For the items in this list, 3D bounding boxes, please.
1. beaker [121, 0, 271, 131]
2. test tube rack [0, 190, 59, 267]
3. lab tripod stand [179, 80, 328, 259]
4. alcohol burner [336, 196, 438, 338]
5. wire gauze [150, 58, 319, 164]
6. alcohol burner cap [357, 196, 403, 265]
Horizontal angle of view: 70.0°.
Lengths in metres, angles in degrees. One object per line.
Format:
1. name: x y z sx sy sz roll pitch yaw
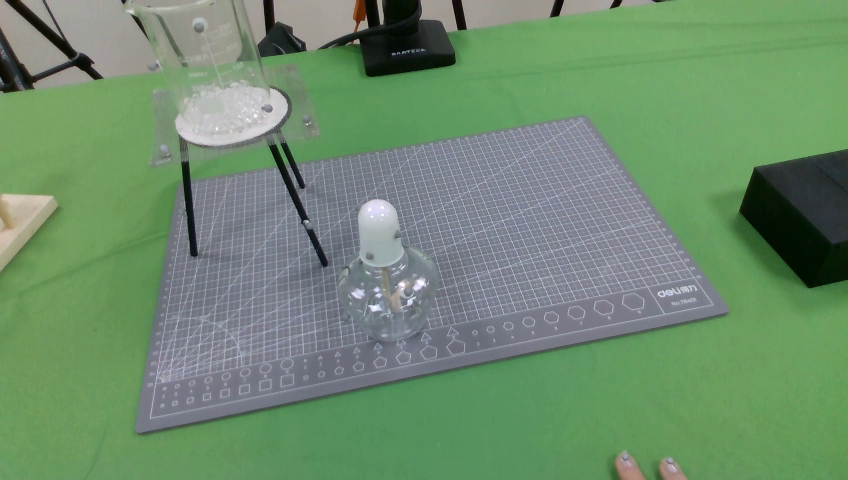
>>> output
1. beaker: -0.160 -0.138 0.444 0.084 0.101 0.073 -15 44 -8
2. test tube rack: -0.431 0.011 0.519 0.066 0.086 0.240 3 44 9
3. lab tripod stand: -0.148 -0.057 0.524 0.148 0.133 0.147 -3 46 3
4. alcohol burner: -0.029 0.017 0.450 0.078 0.120 0.077 -3 42 3
5. wire gauze: -0.153 -0.103 0.478 0.125 0.011 0.120 -16 43 -7
6. alcohol burner cap: -0.032 -0.008 0.424 0.034 0.048 0.033 -1 40 1
